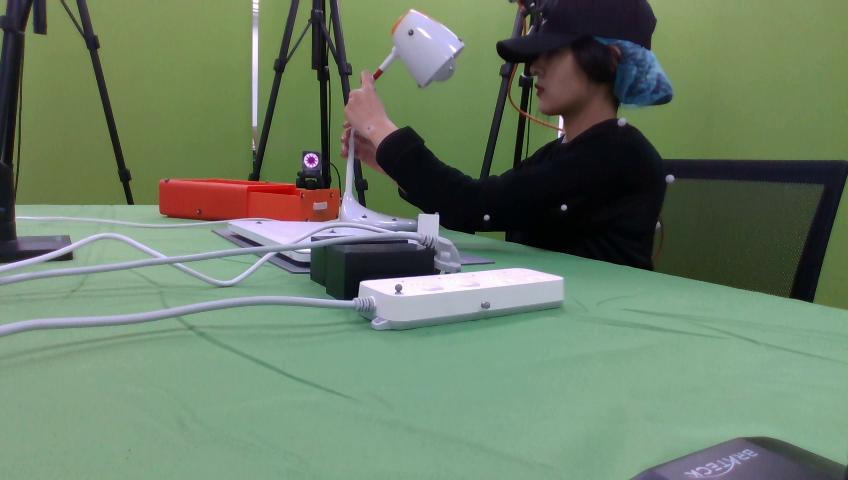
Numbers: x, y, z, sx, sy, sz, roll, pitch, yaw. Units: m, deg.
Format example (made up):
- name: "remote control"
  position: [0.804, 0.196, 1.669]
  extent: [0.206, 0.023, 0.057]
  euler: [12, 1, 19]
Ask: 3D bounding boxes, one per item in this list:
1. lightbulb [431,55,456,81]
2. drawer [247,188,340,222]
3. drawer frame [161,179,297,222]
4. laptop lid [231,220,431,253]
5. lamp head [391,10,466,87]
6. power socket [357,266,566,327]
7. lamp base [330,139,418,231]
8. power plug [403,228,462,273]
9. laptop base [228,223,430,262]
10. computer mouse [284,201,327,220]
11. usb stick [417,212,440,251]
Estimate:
- name: "lightbulb"
  position: [0.013, -0.342, 1.122]
  extent: [0.108, 0.059, 0.059]
  euler: [43, 7, -4]
- name: "drawer"
  position: [-0.313, -0.079, 1.301]
  extent: [0.211, 0.073, 0.195]
  euler: [4, 8, 15]
- name: "drawer frame"
  position: [-0.421, -0.089, 1.329]
  extent: [0.213, 0.082, 0.202]
  euler: [4, 8, 16]
- name: "laptop lid"
  position: [-0.142, -0.009, 0.942]
  extent: [0.243, 0.013, 0.355]
  euler: [1, 7, -31]
- name: "lamp head"
  position: [-0.003, -0.361, 1.125]
  extent: [0.123, 0.112, 0.112]
  euler: [41, 6, -4]
- name: "power socket"
  position: [0.042, 0.049, 0.573]
  extent: [0.228, 0.032, 0.072]
  euler: [-3, 8, -34]
- name: "lamp base"
  position: [-0.098, -0.112, 1.207]
  extent: [0.179, 0.180, 0.160]
  euler: [-1, 6, -8]
- name: "power plug"
  position: [0.006, 0.016, 0.647]
  extent: [0.073, 0.052, 0.035]
  euler: [17, 12, -5]
- name: "laptop base"
  position: [-0.145, 0.003, 0.942]
  extent: [0.237, 0.023, 0.352]
  euler: [2, 6, -32]
- name: "computer mouse"
  position: [-0.252, -0.063, 1.293]
  extent: [0.063, 0.041, 0.117]
  euler: [0, 2, 9]
- name: "usb stick"
  position: [0.005, -0.003, 0.721]
  extent: [0.027, 0.059, 0.021]
  euler: [0, -3, -3]
